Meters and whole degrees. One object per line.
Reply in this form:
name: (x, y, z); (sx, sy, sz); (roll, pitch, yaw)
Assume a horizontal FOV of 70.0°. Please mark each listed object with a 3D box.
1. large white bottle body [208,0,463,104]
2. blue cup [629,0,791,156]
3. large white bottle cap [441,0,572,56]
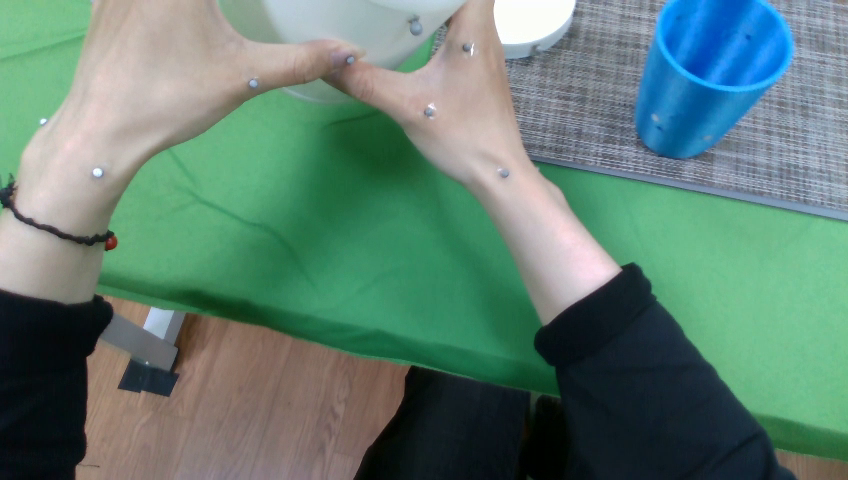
large white bottle body: (-0.039, -0.166, 0.333); (0.131, 0.184, 0.130); (5, 79, -27)
blue cup: (0.187, -0.110, 0.424); (0.092, 0.101, 0.092); (-1, 66, 2)
large white bottle cap: (0.066, -0.206, 0.508); (0.115, 0.018, 0.114); (0, 68, 0)
